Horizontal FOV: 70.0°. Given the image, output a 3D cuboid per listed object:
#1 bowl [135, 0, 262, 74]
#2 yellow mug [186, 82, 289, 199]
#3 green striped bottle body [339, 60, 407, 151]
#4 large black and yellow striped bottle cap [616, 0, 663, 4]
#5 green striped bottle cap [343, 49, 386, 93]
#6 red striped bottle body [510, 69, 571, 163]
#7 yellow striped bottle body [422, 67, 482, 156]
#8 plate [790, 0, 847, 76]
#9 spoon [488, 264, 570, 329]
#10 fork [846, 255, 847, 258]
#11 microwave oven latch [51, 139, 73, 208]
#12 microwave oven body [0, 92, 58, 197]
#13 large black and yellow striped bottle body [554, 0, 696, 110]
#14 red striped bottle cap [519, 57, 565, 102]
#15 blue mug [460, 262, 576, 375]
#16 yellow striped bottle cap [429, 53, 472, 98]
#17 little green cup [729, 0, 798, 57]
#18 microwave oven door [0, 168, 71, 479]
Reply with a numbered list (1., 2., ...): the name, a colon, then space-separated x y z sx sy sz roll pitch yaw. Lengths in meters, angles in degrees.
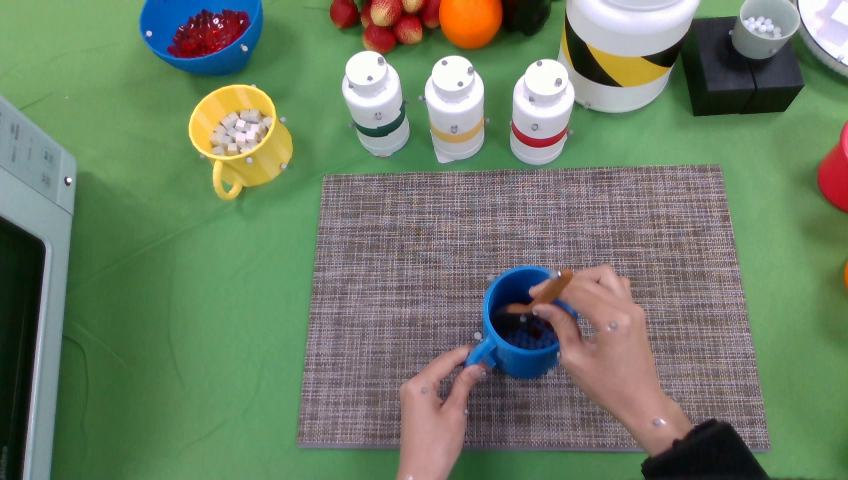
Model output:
1. bowl: -0.269 -0.264 0.761 0.151 0.077 0.150 -2 68 4
2. yellow mug: -0.218 -0.110 0.700 0.100 0.064 0.130 9 70 8
3. green striped bottle body: -0.056 -0.156 0.675 0.063 0.120 0.062 -2 68 5
4. large black and yellow striped bottle cap: 0.205 -0.274 0.573 0.115 0.019 0.114 -2 67 5
5. green striped bottle cap: -0.062 -0.176 0.628 0.044 0.020 0.044 -2 66 5
6. red striped bottle body: 0.124 -0.139 0.652 0.063 0.120 0.062 -3 66 7
7. yellow striped bottle body: 0.032 -0.149 0.664 0.063 0.121 0.062 -2 67 6
8. plate: 0.534 -0.263 0.709 0.209 0.038 0.207 -2 68 5
9. spoon: 0.090 0.052 0.512 0.042 0.194 0.021 2 74 -6
10. fork: 0.478 0.041 0.531 0.028 0.019 0.205 -38 25 -9
11. microwave oven latch: -0.429 -0.075 0.701 0.030 0.030 0.078 -8 68 2
12. microwave oven body: -0.558 0.073 0.549 0.326 0.262 0.438 -10 68 1
13. large black and yellow striped bottle body: 0.213 -0.243 0.651 0.130 0.185 0.130 -2 68 5
14. red striped bottle cap: 0.118 -0.160 0.604 0.044 0.018 0.044 0 66 1
15. blue mug: 0.081 0.086 0.569 0.116 0.106 0.081 -35 68 -9
16. yellow striped bottle cap: 0.027 -0.168 0.616 0.044 0.019 0.044 -2 69 5
17. little green cup: 0.364 -0.232 0.656 0.061 0.039 0.061 -1 66 2
18. microwave oven door: -0.409 0.086 0.525 0.039 0.245 0.353 -10 67 2
